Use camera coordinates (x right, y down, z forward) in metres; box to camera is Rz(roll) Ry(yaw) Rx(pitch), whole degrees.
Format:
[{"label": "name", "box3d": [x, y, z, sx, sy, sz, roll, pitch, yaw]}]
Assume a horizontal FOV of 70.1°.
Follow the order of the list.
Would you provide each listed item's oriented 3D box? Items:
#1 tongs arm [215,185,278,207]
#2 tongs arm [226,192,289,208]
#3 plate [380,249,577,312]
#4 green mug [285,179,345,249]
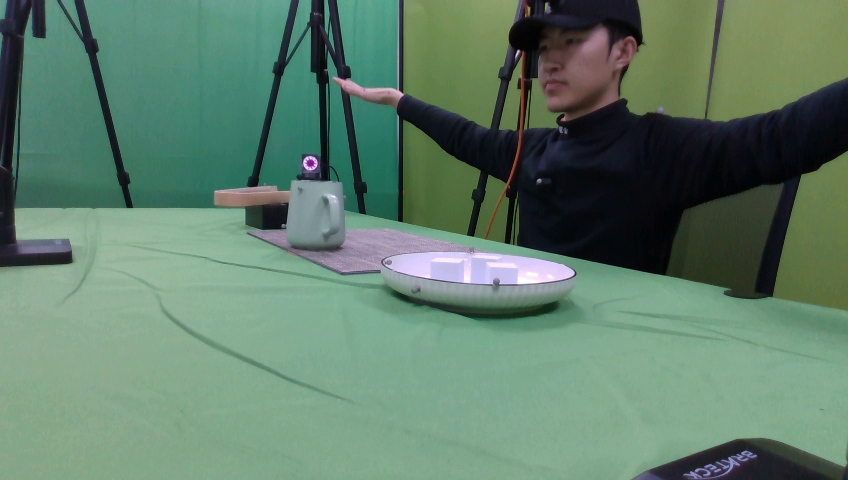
[{"label": "tongs arm", "box3d": [-0.362, -0.098, 1.297, 0.051, 0.026, 0.385, 7, 8, 6]}, {"label": "tongs arm", "box3d": [-0.285, -0.091, 1.284, 0.028, 0.028, 0.389, 12, 10, 18]}, {"label": "plate", "box3d": [0.056, 0.042, 0.646, 0.209, 0.038, 0.209, 2, 7, 0]}, {"label": "green mug", "box3d": [-0.161, -0.040, 0.936, 0.093, 0.105, 0.124, -2, 8, -32]}]
